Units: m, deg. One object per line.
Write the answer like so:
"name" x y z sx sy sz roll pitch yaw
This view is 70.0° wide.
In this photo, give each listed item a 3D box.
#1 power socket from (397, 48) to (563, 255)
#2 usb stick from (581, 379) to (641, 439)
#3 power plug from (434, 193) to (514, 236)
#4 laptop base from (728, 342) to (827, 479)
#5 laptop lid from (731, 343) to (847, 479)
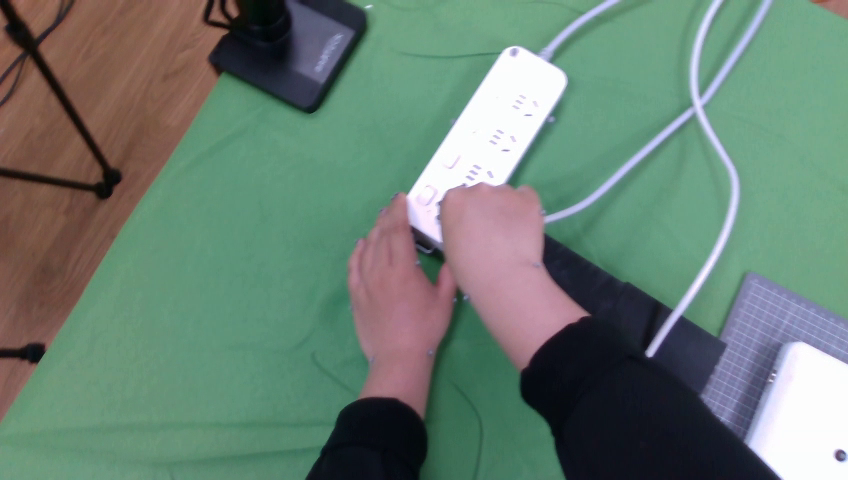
"power socket" 0.055 -0.087 0.583 0.072 0.033 0.226 32 78 4
"usb stick" 0.159 0.151 0.522 0.027 0.021 0.059 40 106 29
"power plug" 0.041 -0.013 0.544 0.072 0.053 0.035 44 80 10
"laptop base" 0.434 0.271 0.531 0.354 0.023 0.235 28 81 3
"laptop lid" 0.433 0.270 0.519 0.356 0.013 0.241 29 80 4
